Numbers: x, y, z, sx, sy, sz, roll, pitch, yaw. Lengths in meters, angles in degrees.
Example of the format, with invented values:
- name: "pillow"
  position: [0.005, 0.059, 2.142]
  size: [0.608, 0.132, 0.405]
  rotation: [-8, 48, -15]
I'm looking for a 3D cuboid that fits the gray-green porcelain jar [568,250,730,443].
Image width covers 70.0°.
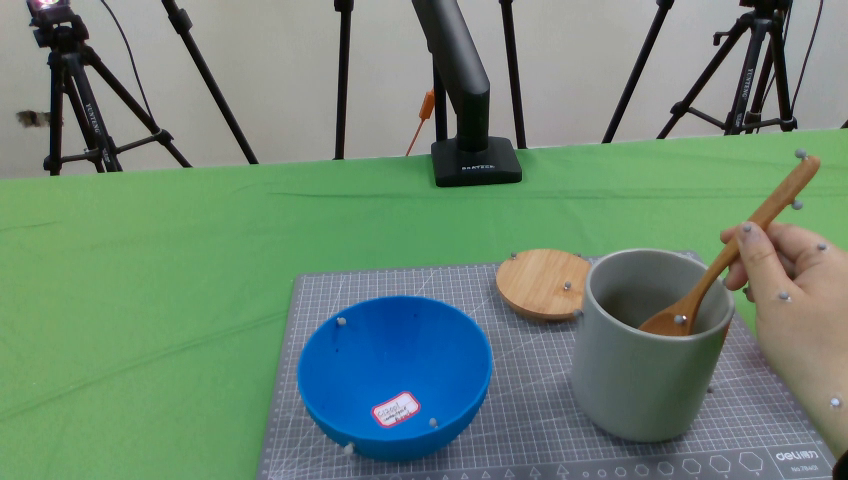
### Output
- name: "gray-green porcelain jar"
  position: [0.172, 0.089, 0.482]
  size: [0.106, 0.127, 0.105]
  rotation: [-2, 36, 2]

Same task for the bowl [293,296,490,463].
- name: "bowl"
  position: [-0.023, 0.123, 0.486]
  size: [0.151, 0.077, 0.150]
  rotation: [-1, 36, 1]

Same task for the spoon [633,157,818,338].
- name: "spoon"
  position: [0.200, 0.025, 0.420]
  size: [0.022, 0.194, 0.041]
  rotation: [7, 37, -26]

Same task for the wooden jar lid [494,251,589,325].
- name: "wooden jar lid"
  position: [0.126, 0.050, 0.631]
  size: [0.108, 0.021, 0.107]
  rotation: [-2, 35, 2]
